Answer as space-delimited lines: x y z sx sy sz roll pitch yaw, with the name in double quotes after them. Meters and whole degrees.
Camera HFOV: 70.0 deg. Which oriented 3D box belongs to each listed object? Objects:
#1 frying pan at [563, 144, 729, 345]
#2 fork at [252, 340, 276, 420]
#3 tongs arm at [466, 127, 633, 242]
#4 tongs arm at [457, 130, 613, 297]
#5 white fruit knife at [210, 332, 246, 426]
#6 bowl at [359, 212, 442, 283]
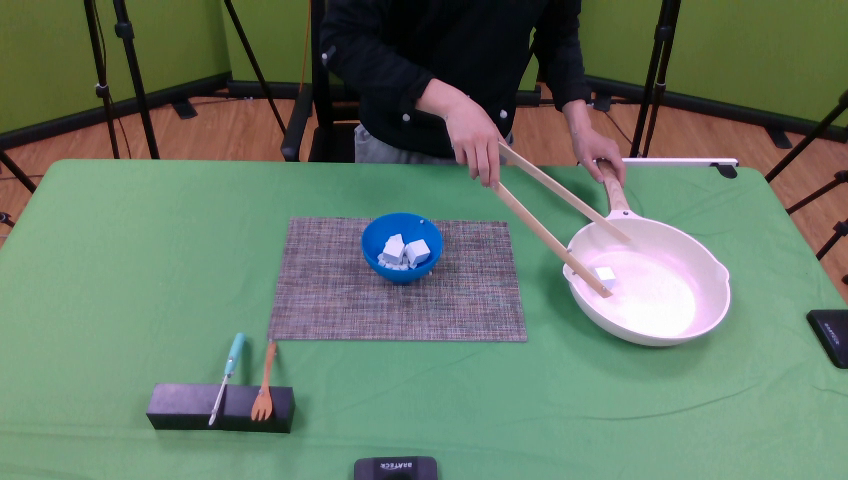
0.396 -0.008 1.179 0.307 0.103 0.484 1 55 -5 "frying pan"
-0.242 0.211 0.932 0.028 0.019 0.206 -5 26 -7 "fork"
0.232 -0.097 1.103 0.389 0.028 0.028 32 64 -16 "tongs arm"
0.199 -0.042 1.063 0.385 0.026 0.050 42 59 -10 "tongs arm"
-0.301 0.206 0.930 0.016 0.027 0.206 5 29 -7 "white fruit knife"
-0.044 0.026 1.125 0.151 0.077 0.150 2 46 -2 "bowl"
